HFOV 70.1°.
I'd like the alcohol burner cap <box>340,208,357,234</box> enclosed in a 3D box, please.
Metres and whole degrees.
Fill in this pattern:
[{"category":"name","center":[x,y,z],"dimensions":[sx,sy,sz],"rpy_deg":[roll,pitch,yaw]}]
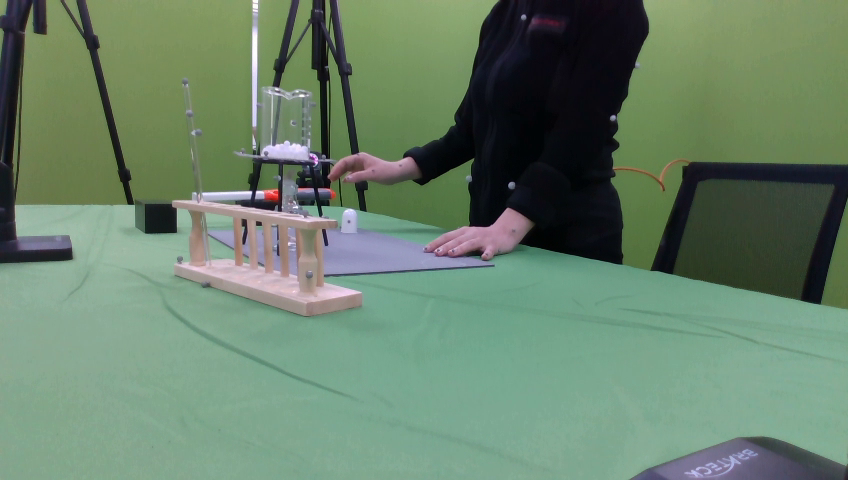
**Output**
[{"category":"alcohol burner cap","center":[-0.142,-0.036,1.136],"dimensions":[0.034,0.048,0.034],"rpy_deg":[2,7,0]}]

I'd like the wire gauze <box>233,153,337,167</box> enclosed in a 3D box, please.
[{"category":"wire gauze","center":[-0.205,-0.119,0.887],"dimensions":[0.122,0.011,0.124],"rpy_deg":[2,4,-32]}]

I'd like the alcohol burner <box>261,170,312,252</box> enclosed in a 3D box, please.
[{"category":"alcohol burner","center":[-0.200,-0.043,0.891],"dimensions":[0.078,0.119,0.078],"rpy_deg":[1,6,0]}]

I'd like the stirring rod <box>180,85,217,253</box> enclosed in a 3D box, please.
[{"category":"stirring rod","center":[-0.236,-0.073,0.634],"dimensions":[0.006,0.176,0.014],"rpy_deg":[1,10,43]}]

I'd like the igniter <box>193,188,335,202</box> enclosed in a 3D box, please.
[{"category":"igniter","center":[-0.312,-0.089,1.209],"dimensions":[0.278,0.025,0.057],"rpy_deg":[-5,13,-31]}]

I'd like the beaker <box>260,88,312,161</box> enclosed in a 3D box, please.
[{"category":"beaker","center":[-0.200,-0.166,0.876],"dimensions":[0.074,0.100,0.083],"rpy_deg":[1,7,-18]}]

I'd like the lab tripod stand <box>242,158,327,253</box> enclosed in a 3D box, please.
[{"category":"lab tripod stand","center":[-0.207,-0.054,0.895],"dimensions":[0.148,0.131,0.148],"rpy_deg":[2,5,0]}]

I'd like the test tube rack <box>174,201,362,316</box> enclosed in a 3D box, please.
[{"category":"test tube rack","center":[-0.168,0.010,0.622],"dimensions":[0.241,0.085,0.067],"rpy_deg":[9,9,41]}]
